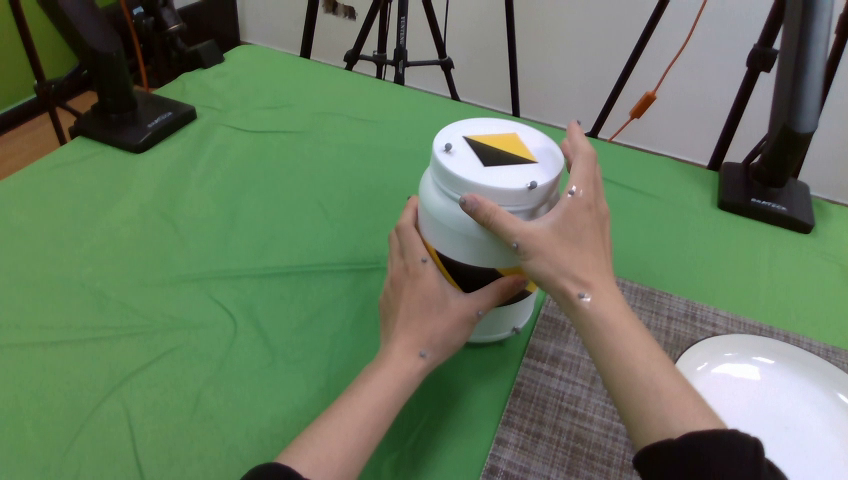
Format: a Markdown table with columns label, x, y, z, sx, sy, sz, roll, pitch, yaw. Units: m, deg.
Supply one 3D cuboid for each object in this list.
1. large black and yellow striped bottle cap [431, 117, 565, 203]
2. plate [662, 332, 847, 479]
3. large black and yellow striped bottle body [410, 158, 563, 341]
| label | x | y | z | sx | sy | sz | roll | pitch | yaw |
| --- | --- | --- | --- | --- | --- | --- | --- | --- | --- |
| large black and yellow striped bottle cap | 0.063 | -0.072 | 0.523 | 0.115 | 0.019 | 0.114 | 5 | 40 | -4 |
| plate | 0.304 | 0.169 | 0.515 | 0.208 | 0.039 | 0.205 | 4 | 40 | -3 |
| large black and yellow striped bottle body | 0.057 | -0.008 | 0.577 | 0.131 | 0.185 | 0.129 | 4 | 41 | -3 |
